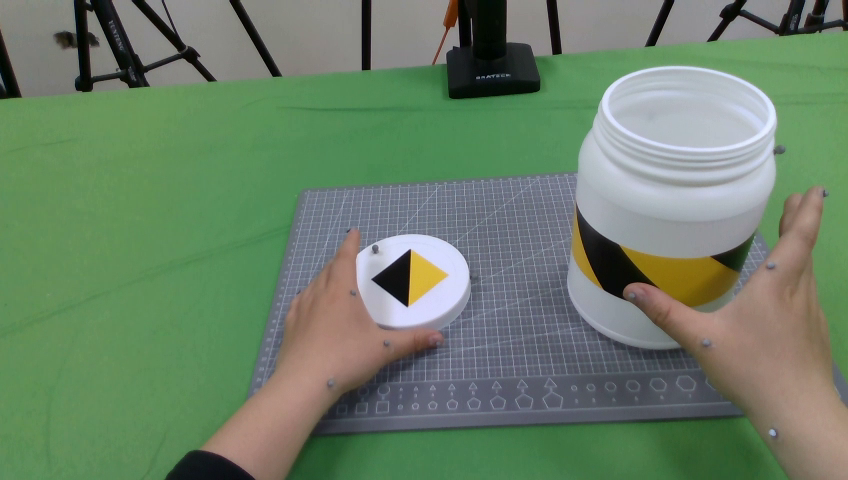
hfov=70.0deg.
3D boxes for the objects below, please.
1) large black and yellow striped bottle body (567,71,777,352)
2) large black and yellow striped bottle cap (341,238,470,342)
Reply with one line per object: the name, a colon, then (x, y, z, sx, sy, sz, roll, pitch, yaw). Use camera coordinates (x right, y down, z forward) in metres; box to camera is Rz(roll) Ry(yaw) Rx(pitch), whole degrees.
large black and yellow striped bottle body: (0.180, -0.019, 0.457, 0.131, 0.186, 0.129, -4, 43, 4)
large black and yellow striped bottle cap: (-0.017, 0.041, 0.542, 0.115, 0.019, 0.114, -2, 43, 3)
